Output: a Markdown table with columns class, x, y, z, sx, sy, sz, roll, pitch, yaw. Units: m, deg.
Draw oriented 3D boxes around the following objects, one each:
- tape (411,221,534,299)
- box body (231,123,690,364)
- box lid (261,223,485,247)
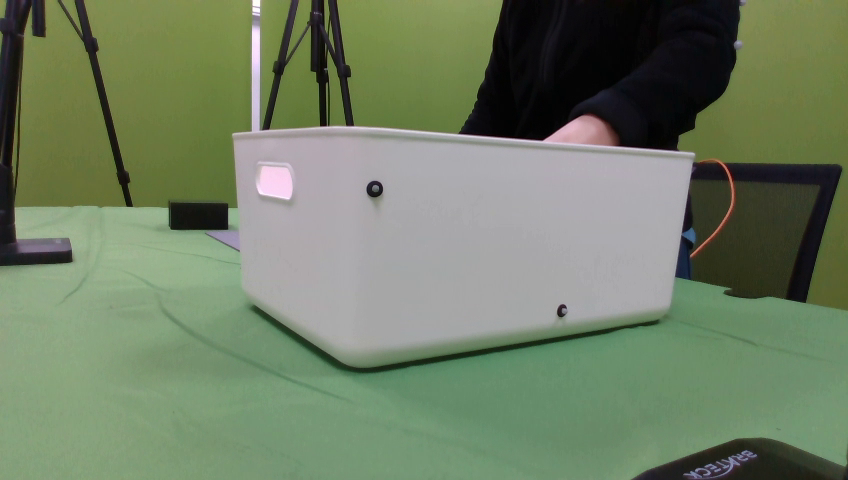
| class | x | y | z | sx | sy | sz | roll | pitch | yaw |
| --- | --- | --- | --- | --- | --- | --- | --- | --- | --- |
| tape | 0.044 | 0.015 | 0.561 | 0.117 | 0.052 | 0.117 | 3 | 9 | 0 |
| box body | 0.031 | -0.013 | 0.563 | 0.366 | 0.160 | 0.253 | -3 | 8 | -33 |
| box lid | -0.100 | -0.009 | 1.085 | 0.373 | 0.015 | 0.262 | 0 | 7 | -15 |
